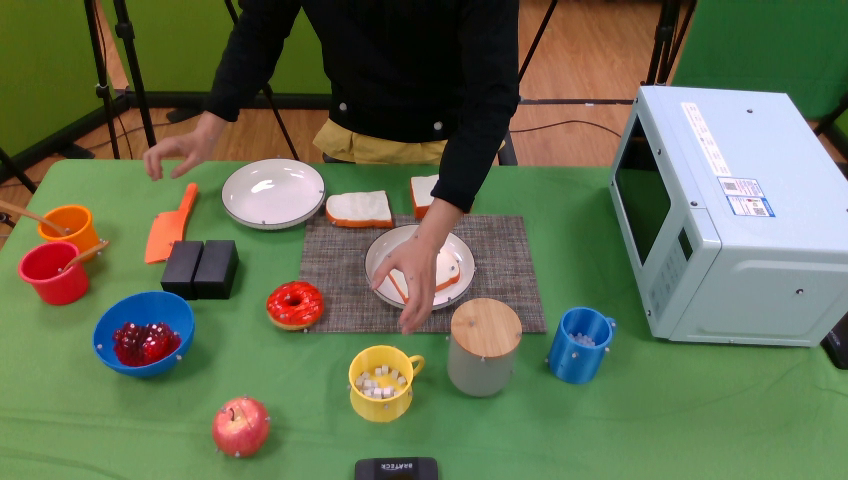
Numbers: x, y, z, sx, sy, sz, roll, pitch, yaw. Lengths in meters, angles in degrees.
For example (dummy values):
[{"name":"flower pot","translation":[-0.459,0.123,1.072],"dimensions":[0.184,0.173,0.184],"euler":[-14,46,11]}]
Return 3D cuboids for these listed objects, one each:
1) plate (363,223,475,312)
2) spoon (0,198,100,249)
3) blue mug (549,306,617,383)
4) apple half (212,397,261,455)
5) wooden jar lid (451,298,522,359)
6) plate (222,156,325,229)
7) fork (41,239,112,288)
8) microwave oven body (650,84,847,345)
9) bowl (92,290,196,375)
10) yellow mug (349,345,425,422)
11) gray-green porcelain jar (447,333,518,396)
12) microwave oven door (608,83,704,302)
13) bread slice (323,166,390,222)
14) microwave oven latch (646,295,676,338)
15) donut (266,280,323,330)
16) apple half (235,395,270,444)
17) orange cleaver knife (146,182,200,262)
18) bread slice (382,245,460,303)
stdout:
[{"name":"plate","translation":[-0.010,0.054,1.127],"dimensions":[0.208,0.039,0.206],"euler":[2,46,-2]},{"name":"spoon","translation":[-0.684,-0.035,1.092],"dimensions":[0.021,0.195,0.041],"euler":[-31,43,28]},{"name":"blue mug","translation":[0.269,0.167,0.997],"dimensions":[0.116,0.106,0.082],"euler":[-19,51,-21]},{"name":"apple half","translation":[-0.276,0.277,0.877],"dimensions":[0.053,0.075,0.080],"euler":[-29,58,-21]},{"name":"wooden jar lid","translation":[0.093,0.135,0.914],"dimensions":[0.108,0.021,0.107],"euler":[3,48,-3]},{"name":"plate","translation":[-0.308,-0.095,1.251],"dimensions":[0.209,0.038,0.208],"euler":[3,47,-2]},{"name":"fork","translation":[-0.591,0.040,1.028],"dimensions":[0.207,0.019,0.028],"euler":[-27,37,29]},{"name":"microwave oven body","translation":[0.569,-0.054,1.116],"dimensions":[0.326,0.261,0.439],"euler":[2,46,-1]},{"name":"bowl","translation":[-0.436,0.161,0.971],"dimensions":[0.151,0.077,0.150],"euler":[2,46,-2]},{"name":"yellow mug","translation":[-0.054,0.217,0.954],"dimensions":[0.131,0.064,0.099],"euler":[-23,52,-25]},{"name":"gray-green porcelain jar","translation":[0.091,0.178,0.960],"dimensions":[0.106,0.127,0.105],"euler":[2,47,-2]},{"name":"microwave oven door","translation":[0.424,-0.096,1.138],"dimensions":[0.039,0.245,0.353],"euler":[2,47,-1]},{"name":"bread slice","translation":[-0.140,-0.092,1.224],"dimensions":[0.134,0.018,0.106],"euler":[-19,51,6]},{"name":"microwave oven latch","translation":[0.413,0.133,1.060],"dimensions":[0.030,0.029,0.078],"euler":[4,46,1]},{"name":"donut","translation":[-0.223,0.112,1.051],"dimensions":[0.099,0.048,0.098],"euler":[2,46,-2]},{"name":"apple half","translation":[-0.245,0.259,0.893],"dimensions":[0.033,0.082,0.081],"euler":[-29,55,-22]},{"name":"orange cleaver knife","translation":[-0.494,-0.039,1.199],"dimensions":[0.077,0.012,0.210],"euler":[-3,48,1]},{"name":"bread slice","translation":[-0.001,0.054,1.129],"dimensions":[0.131,0.019,0.104],"euler":[-20,52,-20]}]
